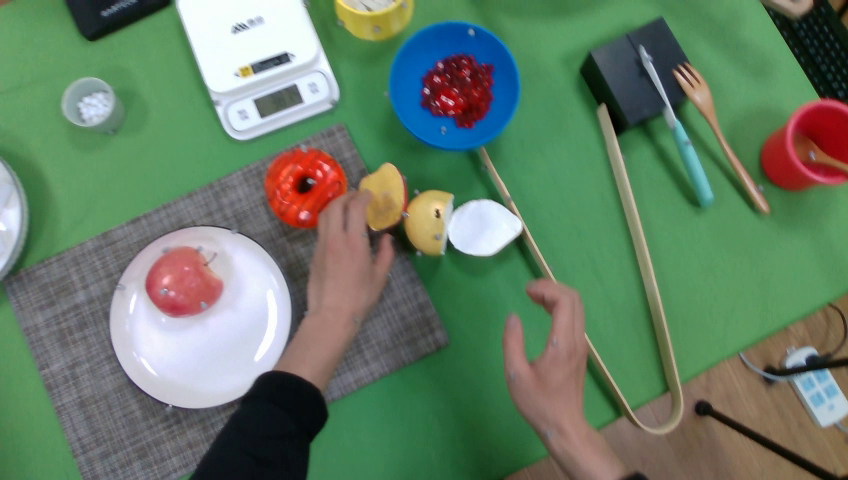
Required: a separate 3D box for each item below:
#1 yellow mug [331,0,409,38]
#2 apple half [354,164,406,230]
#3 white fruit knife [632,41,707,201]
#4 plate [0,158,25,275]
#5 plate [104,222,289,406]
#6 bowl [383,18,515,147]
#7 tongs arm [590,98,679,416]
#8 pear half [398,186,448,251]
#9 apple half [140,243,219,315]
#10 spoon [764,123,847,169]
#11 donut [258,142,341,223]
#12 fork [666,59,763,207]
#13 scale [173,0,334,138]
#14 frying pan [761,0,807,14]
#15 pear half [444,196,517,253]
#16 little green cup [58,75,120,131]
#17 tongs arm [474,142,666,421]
[{"bbox_3d":[-0.083,-0.318,0.745,0.130,0.064,0.100,31,84,4],"label":"yellow mug"},{"bbox_3d":[-0.045,-0.051,0.724,0.080,0.033,0.081,13,112,37],"label":"apple half"},{"bbox_3d":[0.291,-0.139,0.720,0.016,0.027,0.208,-28,98,-4],"label":"white fruit knife"},{"bbox_3d":[-0.573,-0.022,0.716,0.208,0.039,0.207,0,82,0],"label":"plate"},{"bbox_3d":[-0.257,0.084,0.702,0.209,0.038,0.208,0,82,0],"label":"plate"},{"bbox_3d":[0.029,-0.176,0.722,0.151,0.077,0.151,0,83,-1],"label":"bowl"},{"bbox_3d":[0.249,0.014,0.728,0.028,0.028,0.386,-11,83,-11],"label":"tongs arm"},{"bbox_3d":[-0.002,-0.029,0.687,0.056,0.110,0.076,6,77,2],"label":"pear half"},{"bbox_3d":[-0.283,0.045,0.689,0.074,0.053,0.080,-32,87,-3],"label":"apple half"},{"bbox_3d":[0.468,-0.086,0.682,0.041,0.022,0.191,-32,40,-5],"label":"spoon"},{"bbox_3d":[-0.148,-0.068,0.719,0.099,0.048,0.099,0,84,2],"label":"donut"},{"bbox_3d":[0.352,-0.126,0.726,0.028,0.018,0.208,-36,100,-7],"label":"fork"},{"bbox_3d":[-0.211,-0.240,0.751,0.149,0.031,0.200,-22,84,-3],"label":"scale"},{"bbox_3d":[0.238,-0.403,0.740,0.486,0.103,0.306,36,85,12],"label":"frying pan"},{"bbox_3d":[0.069,-0.017,0.725,0.088,0.031,0.070,-1,80,14],"label":"pear half"},{"bbox_3d":[-0.404,-0.163,0.736,0.061,0.039,0.061,0,82,0],"label":"little green cup"},{"bbox_3d":[0.169,0.044,0.718,0.051,0.026,0.383,-26,85,-9],"label":"tongs arm"}]
